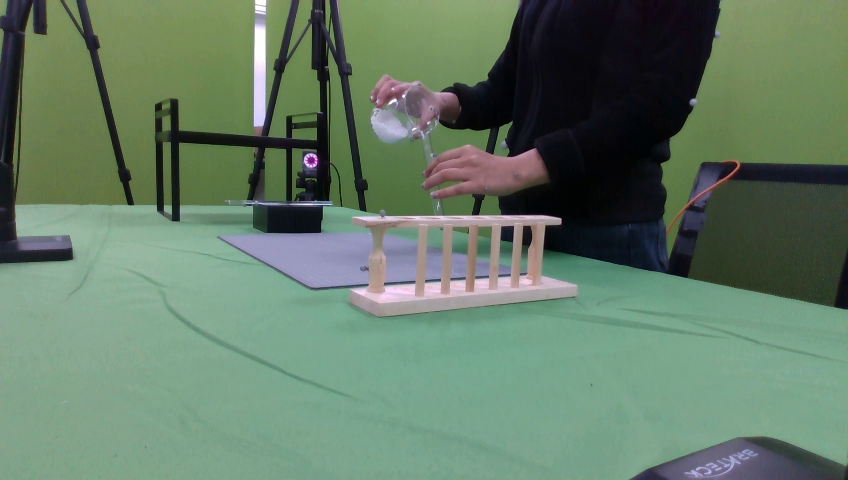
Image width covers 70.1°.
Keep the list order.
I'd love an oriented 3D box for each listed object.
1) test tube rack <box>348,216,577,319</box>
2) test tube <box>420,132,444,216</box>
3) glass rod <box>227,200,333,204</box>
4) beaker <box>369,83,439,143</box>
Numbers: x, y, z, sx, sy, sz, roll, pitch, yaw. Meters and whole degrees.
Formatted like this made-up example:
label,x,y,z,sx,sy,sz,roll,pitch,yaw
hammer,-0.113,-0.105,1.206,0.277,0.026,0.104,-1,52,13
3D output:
label,x,y,z,sx,sy,sz,roll,pitch,yaw
test tube rack,0.048,0.021,0.619,0.244,0.085,0.066,-2,9,-31
test tube,0.014,-0.096,0.943,0.017,0.150,0.017,-10,-7,-1
glass rod,-0.268,-0.071,1.143,0.201,0.008,0.008,-1,8,-29
beaker,-0.035,-0.200,0.987,0.074,0.084,0.100,-9,-1,-42
